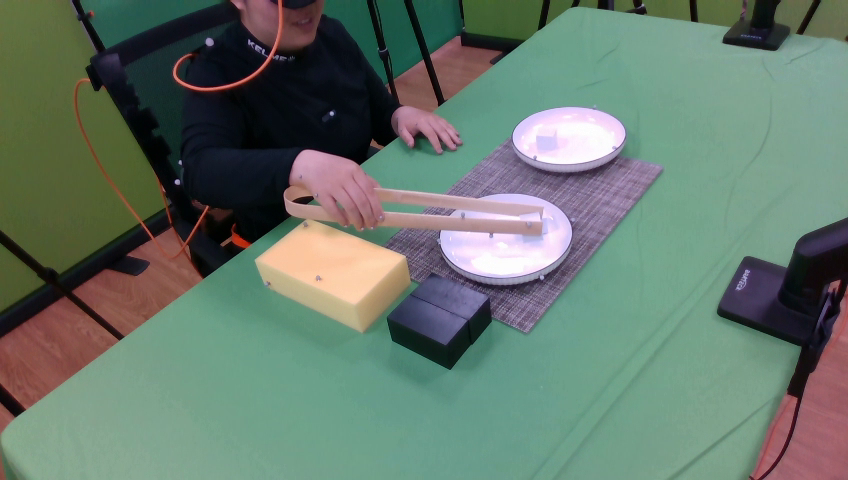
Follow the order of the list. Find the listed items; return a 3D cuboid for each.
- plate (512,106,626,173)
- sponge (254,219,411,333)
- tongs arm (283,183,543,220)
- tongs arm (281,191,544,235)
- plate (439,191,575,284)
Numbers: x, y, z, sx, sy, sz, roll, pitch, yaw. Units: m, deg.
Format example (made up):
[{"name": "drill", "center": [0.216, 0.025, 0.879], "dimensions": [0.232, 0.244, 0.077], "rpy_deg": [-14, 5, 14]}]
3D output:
[{"name": "plate", "center": [0.269, -0.185, 1.132], "dimensions": [0.209, 0.038, 0.208], "rpy_deg": [-5, 40, 5]}, {"name": "sponge", "center": [-0.139, 0.048, 0.922], "dimensions": [0.205, 0.061, 0.118], "rpy_deg": [19, 47, 30]}, {"name": "tongs arm", "center": [-0.017, -0.055, 0.903], "dimensions": [0.387, 0.028, 0.028], "rpy_deg": [5, 45, 4]}, {"name": "tongs arm", "center": [-0.020, -0.040, 0.885], "dimensions": [0.385, 0.026, 0.050], "rpy_deg": [3, 41, 1]}, {"name": "plate", "center": [0.129, -0.002, 0.942], "dimensions": [0.207, 0.039, 0.206], "rpy_deg": [-5, 40, 5]}]
